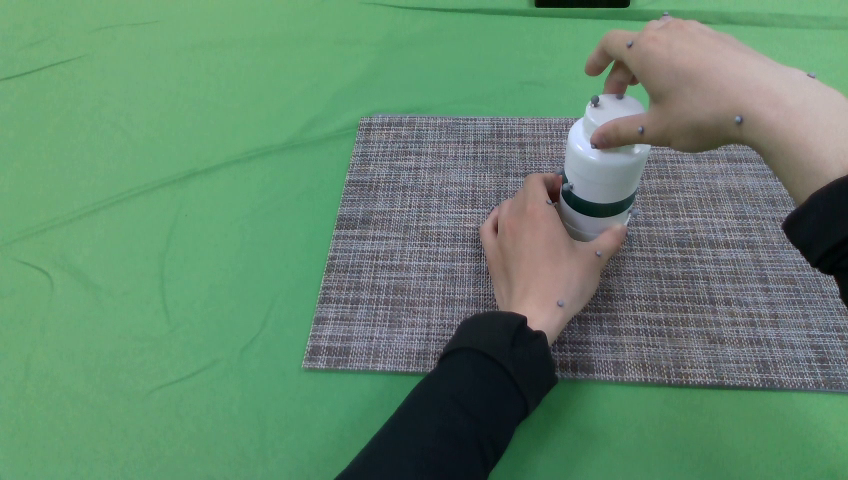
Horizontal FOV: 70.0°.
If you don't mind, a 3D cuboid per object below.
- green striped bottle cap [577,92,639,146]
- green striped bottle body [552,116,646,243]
[{"bbox_3d":[0.139,-0.091,0.457,0.044,0.020,0.044,-2,51,3],"label":"green striped bottle cap"},{"bbox_3d":[0.142,-0.058,0.497,0.063,0.120,0.062,-2,50,2],"label":"green striped bottle body"}]
